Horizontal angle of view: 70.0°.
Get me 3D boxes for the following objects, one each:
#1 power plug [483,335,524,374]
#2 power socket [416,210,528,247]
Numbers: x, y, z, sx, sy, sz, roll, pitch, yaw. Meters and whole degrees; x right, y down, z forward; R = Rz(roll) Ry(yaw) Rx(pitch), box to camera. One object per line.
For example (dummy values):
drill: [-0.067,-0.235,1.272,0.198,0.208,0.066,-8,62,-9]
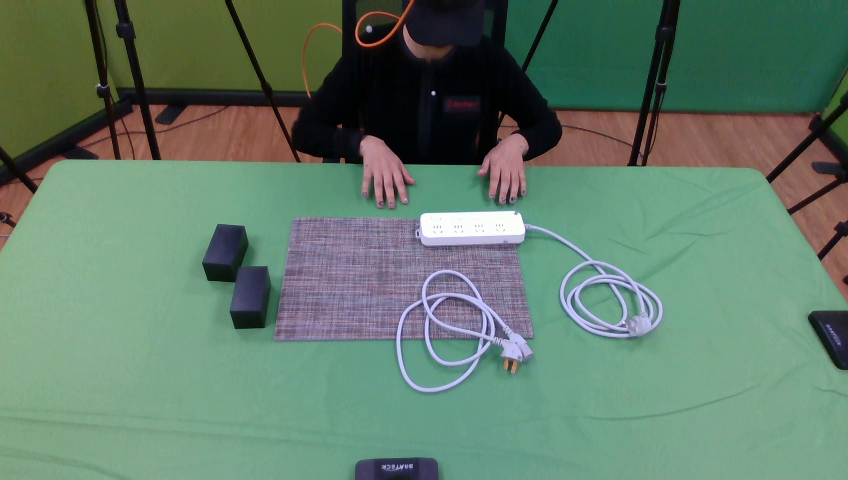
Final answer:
power plug: [0.132,0.193,1.018,0.072,0.035,0.052,7,68,25]
power socket: [0.098,-0.024,1.213,0.227,0.033,0.071,-2,47,-6]
